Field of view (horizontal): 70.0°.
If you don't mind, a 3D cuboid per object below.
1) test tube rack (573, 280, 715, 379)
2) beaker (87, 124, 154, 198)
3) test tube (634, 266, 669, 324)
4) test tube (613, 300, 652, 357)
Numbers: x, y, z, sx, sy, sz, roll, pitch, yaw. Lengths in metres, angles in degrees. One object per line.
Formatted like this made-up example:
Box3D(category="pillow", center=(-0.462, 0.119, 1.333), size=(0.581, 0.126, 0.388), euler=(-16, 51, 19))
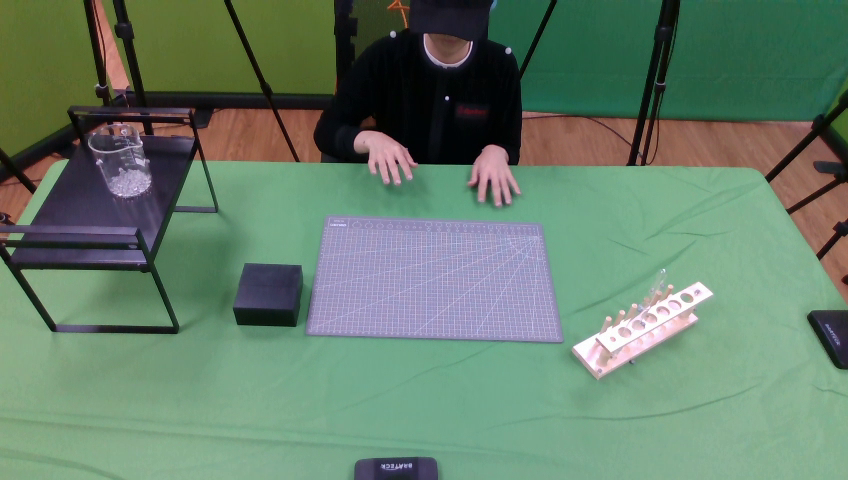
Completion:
Box3D(category="test tube rack", center=(0.378, 0.140, 1.038), size=(0.242, 0.085, 0.066), euler=(-22, 51, -23))
Box3D(category="beaker", center=(-0.482, -0.124, 0.978), size=(0.084, 0.101, 0.073), euler=(9, 46, 4))
Box3D(category="test tube", center=(0.382, 0.095, 1.020), size=(0.017, 0.151, 0.017), euler=(2, 48, -2))
Box3D(category="test tube", center=(0.328, 0.144, 0.962), size=(0.017, 0.151, 0.017), euler=(3, 49, -4))
